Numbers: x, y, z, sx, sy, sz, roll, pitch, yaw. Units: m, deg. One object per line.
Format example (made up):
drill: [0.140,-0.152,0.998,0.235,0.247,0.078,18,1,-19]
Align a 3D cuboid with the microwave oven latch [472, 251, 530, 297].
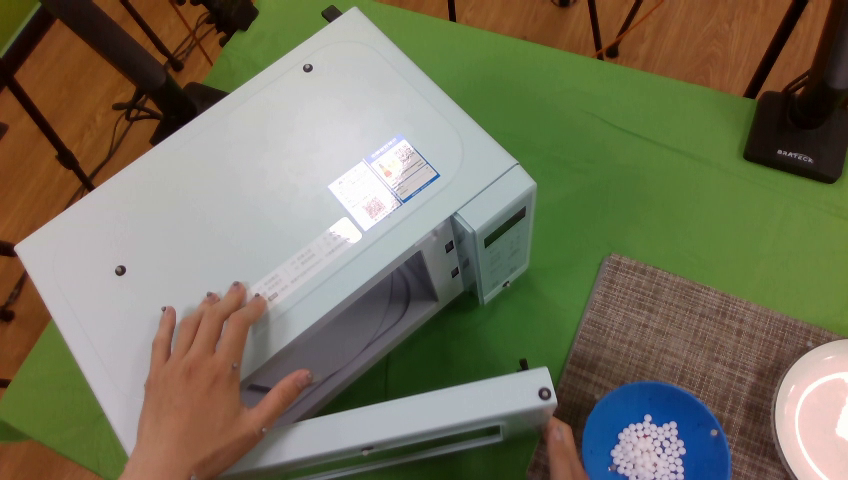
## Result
microwave oven latch: [0.098,0.036,0.766,0.079,0.030,0.030,-37,69,-7]

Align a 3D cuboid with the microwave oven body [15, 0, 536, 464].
microwave oven body: [-0.144,0.007,0.703,0.441,0.262,0.323,-39,69,-8]

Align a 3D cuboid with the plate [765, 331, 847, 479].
plate: [0.482,0.206,0.665,0.207,0.039,0.206,-2,68,6]

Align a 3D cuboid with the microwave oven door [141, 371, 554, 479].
microwave oven door: [-0.052,0.199,0.609,0.356,0.246,0.039,-13,66,2]

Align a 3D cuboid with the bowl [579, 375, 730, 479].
bowl: [0.242,0.229,0.664,0.151,0.077,0.150,-3,68,6]
